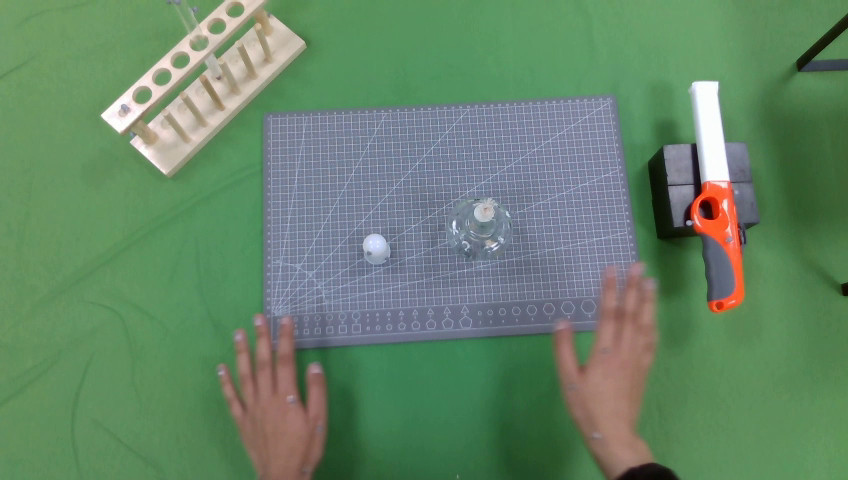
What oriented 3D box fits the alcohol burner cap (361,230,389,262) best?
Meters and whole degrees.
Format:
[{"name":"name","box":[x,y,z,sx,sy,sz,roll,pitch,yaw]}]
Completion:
[{"name":"alcohol burner cap","box":[-0.058,0.006,0.709,0.034,0.048,0.033,0,76,1]}]

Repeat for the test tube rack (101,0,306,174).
[{"name":"test tube rack","box":[-0.258,-0.199,0.734,0.066,0.085,0.242,41,79,9]}]

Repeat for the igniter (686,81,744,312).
[{"name":"igniter","box":[0.329,-0.055,0.692,0.057,0.025,0.275,1,74,3]}]

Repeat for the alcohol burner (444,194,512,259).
[{"name":"alcohol burner","box":[0.062,-0.020,0.680,0.078,0.119,0.077,1,74,-2]}]

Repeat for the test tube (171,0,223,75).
[{"name":"test tube","box":[-0.259,-0.237,0.693,0.017,0.151,0.017,0,71,0]}]
